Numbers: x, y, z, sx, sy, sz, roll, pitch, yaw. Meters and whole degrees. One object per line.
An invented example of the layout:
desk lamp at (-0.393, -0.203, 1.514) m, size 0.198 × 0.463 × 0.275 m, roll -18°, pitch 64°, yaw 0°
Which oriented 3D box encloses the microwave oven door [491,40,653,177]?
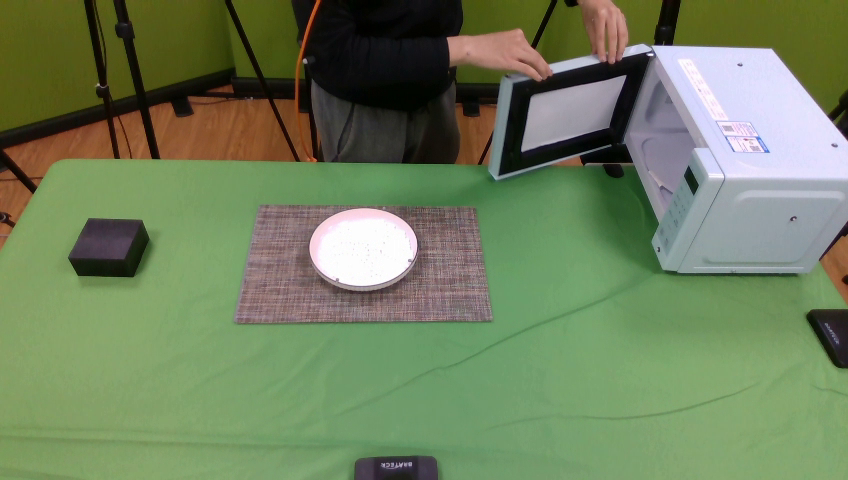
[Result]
microwave oven door at (0.318, -0.284, 1.310) m, size 0.356 × 0.245 × 0.039 m, roll -19°, pitch 50°, yaw -19°

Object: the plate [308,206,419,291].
plate at (-0.115, 0.019, 1.153) m, size 0.209 × 0.038 × 0.208 m, roll 2°, pitch 47°, yaw -2°

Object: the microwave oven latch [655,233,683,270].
microwave oven latch at (0.473, 0.022, 1.176) m, size 0.030 × 0.029 × 0.078 m, roll 2°, pitch 46°, yaw -1°

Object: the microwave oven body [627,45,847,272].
microwave oven body at (0.619, -0.172, 1.234) m, size 0.326 × 0.261 × 0.439 m, roll 0°, pitch 46°, yaw -2°
